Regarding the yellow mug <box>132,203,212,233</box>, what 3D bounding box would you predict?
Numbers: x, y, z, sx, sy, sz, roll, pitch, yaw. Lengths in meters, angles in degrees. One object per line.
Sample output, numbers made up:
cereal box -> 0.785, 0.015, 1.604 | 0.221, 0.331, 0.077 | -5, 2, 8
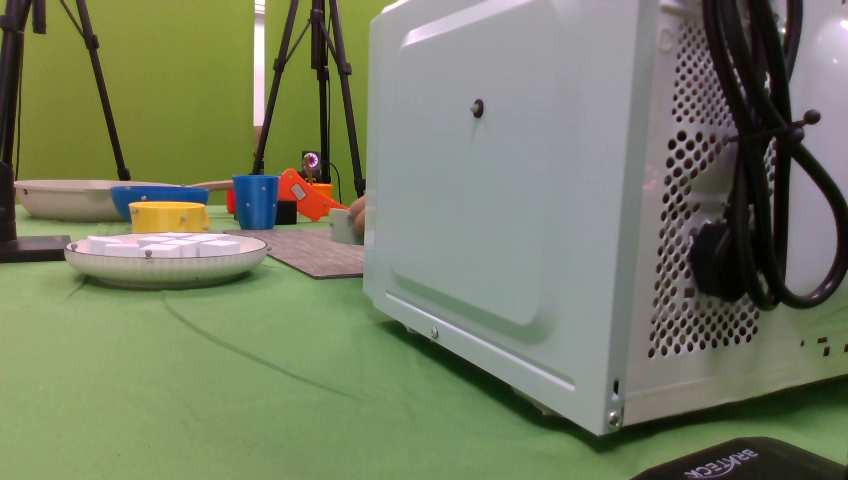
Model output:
yellow mug -> -0.356, -0.020, 0.878 | 0.099, 0.064, 0.131 | 5, 7, 22

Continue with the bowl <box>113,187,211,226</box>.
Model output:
bowl -> -0.436, -0.046, 1.013 | 0.151, 0.077, 0.151 | 2, 7, 0

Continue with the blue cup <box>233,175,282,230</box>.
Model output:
blue cup -> -0.314, -0.071, 1.141 | 0.093, 0.100, 0.092 | 0, 7, 0

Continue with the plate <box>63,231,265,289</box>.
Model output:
plate -> -0.288, 0.021, 0.687 | 0.208, 0.039, 0.207 | 2, 8, 0

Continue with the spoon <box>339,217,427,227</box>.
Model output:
spoon -> -0.087, -0.041, 1.268 | 0.193, 0.021, 0.041 | 4, 20, 13

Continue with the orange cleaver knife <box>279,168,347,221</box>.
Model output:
orange cleaver knife -> -0.236, -0.084, 1.333 | 0.212, 0.077, 0.012 | 31, -9, -31

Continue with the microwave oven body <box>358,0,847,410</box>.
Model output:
microwave oven body -> 0.210, -0.051, 0.471 | 0.444, 0.260, 0.324 | -1, 7, -28

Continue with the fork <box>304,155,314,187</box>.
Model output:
fork -> -0.268, -0.134, 1.446 | 0.028, 0.018, 0.207 | 1, -36, -1

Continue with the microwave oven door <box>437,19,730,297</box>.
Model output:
microwave oven door -> 0.181, -0.076, 0.618 | 0.358, 0.243, 0.039 | -2, 9, -28

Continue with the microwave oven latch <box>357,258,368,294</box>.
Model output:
microwave oven latch -> -0.019, 0.031, 0.529 | 0.079, 0.029, 0.030 | -1, 7, -27

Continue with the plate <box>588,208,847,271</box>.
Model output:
plate -> 0.245, -0.003, 0.512 | 0.209, 0.038, 0.209 | 3, 5, 0

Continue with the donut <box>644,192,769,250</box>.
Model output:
donut -> 0.239, -0.016, 0.518 | 0.099, 0.048, 0.099 | 2, 5, 0

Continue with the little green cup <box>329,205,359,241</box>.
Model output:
little green cup -> -0.082, -0.018, 0.712 | 0.061, 0.038, 0.061 | 4, -3, 1

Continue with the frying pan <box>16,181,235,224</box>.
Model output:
frying pan -> -0.553, -0.097, 1.266 | 0.490, 0.102, 0.305 | -10, 13, -24
